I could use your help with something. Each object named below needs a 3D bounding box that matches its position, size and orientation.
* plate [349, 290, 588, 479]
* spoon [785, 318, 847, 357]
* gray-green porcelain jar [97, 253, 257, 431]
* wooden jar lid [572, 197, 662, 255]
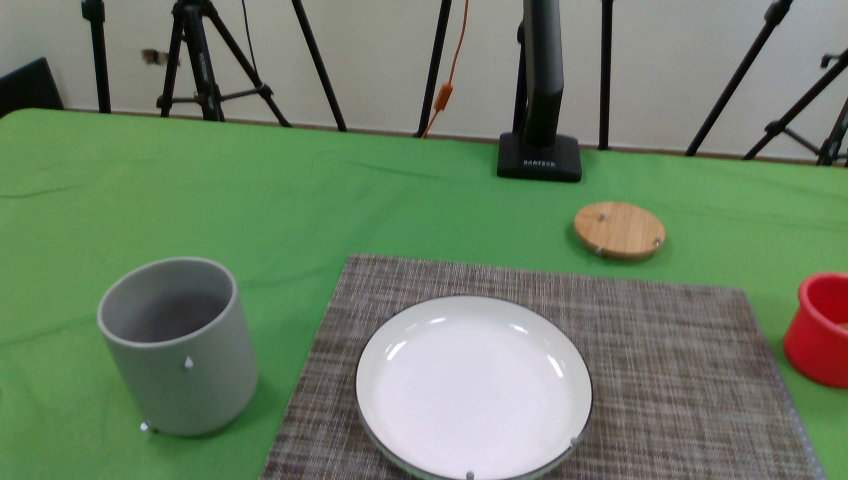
[{"bbox_3d":[0.038,0.128,0.541,0.208,0.039,0.205,1,38,0],"label":"plate"},{"bbox_3d":[0.433,0.063,0.551,0.193,0.022,0.041,-33,25,32],"label":"spoon"},{"bbox_3d":[-0.203,0.091,0.518,0.106,0.127,0.105,1,39,0],"label":"gray-green porcelain jar"},{"bbox_3d":[0.237,-0.017,0.750,0.108,0.021,0.107,1,39,0],"label":"wooden jar lid"}]
